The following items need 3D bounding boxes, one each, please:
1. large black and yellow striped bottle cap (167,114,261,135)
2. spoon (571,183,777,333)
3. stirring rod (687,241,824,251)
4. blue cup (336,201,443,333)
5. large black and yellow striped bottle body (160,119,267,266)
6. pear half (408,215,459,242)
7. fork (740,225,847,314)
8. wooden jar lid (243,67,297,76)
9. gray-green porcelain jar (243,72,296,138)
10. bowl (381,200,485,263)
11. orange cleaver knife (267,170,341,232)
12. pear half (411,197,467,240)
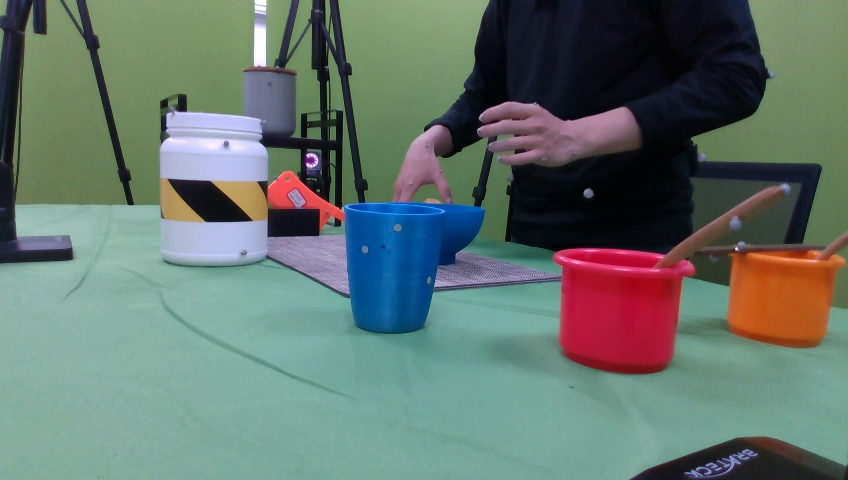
[{"bbox_3d":[-0.269,-0.148,0.779,0.115,0.019,0.115,4,8,0],"label":"large black and yellow striped bottle cap"},{"bbox_3d":[0.161,0.020,0.413,0.042,0.021,0.193,1,-36,-24],"label":"spoon"},{"bbox_3d":[0.289,0.005,0.525,0.177,0.006,0.014,-1,5,-26],"label":"stirring rod"},{"bbox_3d":[-0.029,0.021,0.508,0.093,0.100,0.092,3,9,0],"label":"blue cup"},{"bbox_3d":[-0.272,-0.065,0.789,0.131,0.184,0.130,2,7,0],"label":"large black and yellow striped bottle body"},{"bbox_3d":[0.011,-0.019,0.848,0.070,0.031,0.088,6,12,32],"label":"pear half"},{"bbox_3d":[0.323,0.013,0.485,0.028,0.018,0.207,8,-37,-6],"label":"fork"},{"bbox_3d":[-0.319,-0.342,1.254,0.108,0.020,0.108,3,8,0],"label":"wooden jar lid"},{"bbox_3d":[-0.322,-0.279,1.263,0.106,0.126,0.106,3,8,0],"label":"gray-green porcelain jar"},{"bbox_3d":[0.008,-0.012,0.842,0.151,0.077,0.151,2,7,0],"label":"bowl"},{"bbox_3d":[-0.201,-0.056,1.136,0.212,0.077,0.012,31,-4,-31],"label":"orange cleaver knife"},{"bbox_3d":[0.030,-0.023,1.076,0.110,0.056,0.076,30,-36,-14],"label":"pear half"}]
